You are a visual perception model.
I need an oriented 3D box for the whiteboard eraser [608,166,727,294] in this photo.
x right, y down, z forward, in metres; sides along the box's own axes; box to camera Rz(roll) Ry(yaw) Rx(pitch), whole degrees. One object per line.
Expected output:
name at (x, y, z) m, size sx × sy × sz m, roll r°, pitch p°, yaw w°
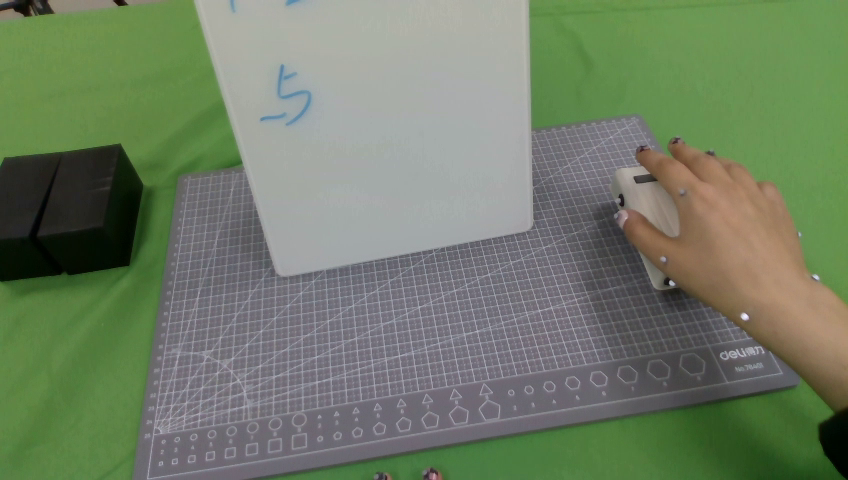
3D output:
whiteboard eraser at (0.190, -0.008, 0.482) m, size 0.055 × 0.042 × 0.111 m, roll -7°, pitch 49°, yaw -3°

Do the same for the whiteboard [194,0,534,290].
whiteboard at (-0.041, -0.143, 0.477) m, size 0.217 × 0.308 × 0.142 m, roll -10°, pitch 31°, yaw -5°
